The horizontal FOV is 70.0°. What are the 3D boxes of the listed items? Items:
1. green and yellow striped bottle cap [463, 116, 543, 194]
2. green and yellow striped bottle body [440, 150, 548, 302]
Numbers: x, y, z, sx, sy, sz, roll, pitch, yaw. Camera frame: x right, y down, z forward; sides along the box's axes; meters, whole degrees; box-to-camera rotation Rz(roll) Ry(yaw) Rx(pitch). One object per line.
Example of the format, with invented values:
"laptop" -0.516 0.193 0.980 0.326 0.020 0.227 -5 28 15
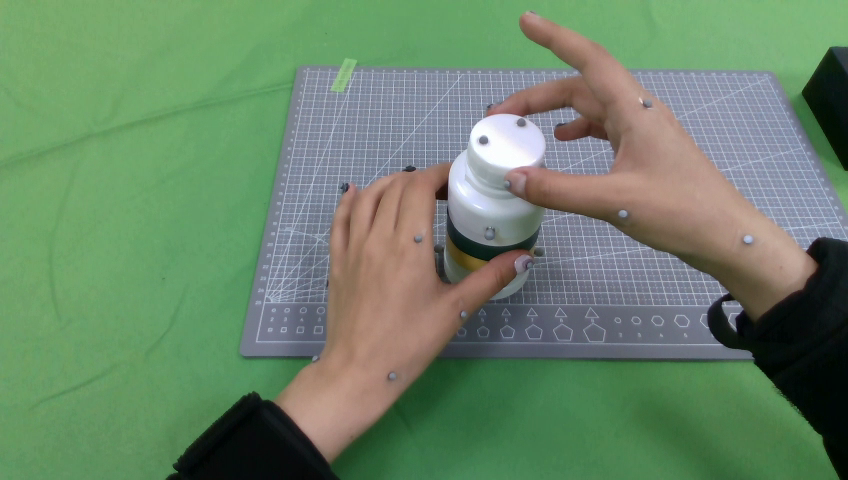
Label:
"green and yellow striped bottle cap" 0.045 -0.049 0.345 0.045 0.020 0.045 3 57 -4
"green and yellow striped bottle body" 0.043 -0.016 0.392 0.063 0.121 0.062 0 54 0
